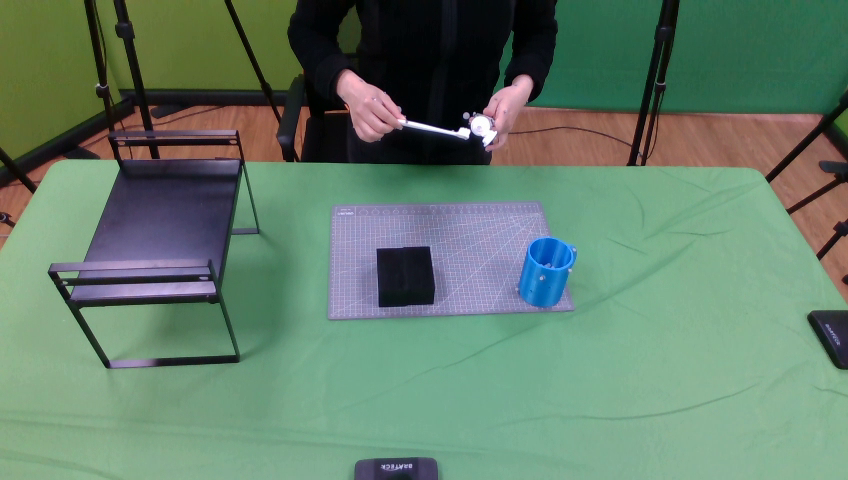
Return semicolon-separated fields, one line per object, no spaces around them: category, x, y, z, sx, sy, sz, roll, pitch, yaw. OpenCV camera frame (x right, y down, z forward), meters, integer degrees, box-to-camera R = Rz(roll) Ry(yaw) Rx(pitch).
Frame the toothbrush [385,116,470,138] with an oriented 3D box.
toothbrush;0.004;-0.205;1.079;0.181;0.014;0.016;17;83;31

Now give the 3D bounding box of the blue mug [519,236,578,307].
blue mug;0.234;0.051;1.102;0.116;0.106;0.082;-23;52;-24

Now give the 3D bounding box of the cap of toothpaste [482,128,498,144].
cap of toothpaste;0.114;-0.183;1.059;0.011;0.037;0.037;40;47;-14

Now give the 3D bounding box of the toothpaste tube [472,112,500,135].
toothpaste tube;0.114;-0.224;1.140;0.055;0.034;0.164;22;21;1
